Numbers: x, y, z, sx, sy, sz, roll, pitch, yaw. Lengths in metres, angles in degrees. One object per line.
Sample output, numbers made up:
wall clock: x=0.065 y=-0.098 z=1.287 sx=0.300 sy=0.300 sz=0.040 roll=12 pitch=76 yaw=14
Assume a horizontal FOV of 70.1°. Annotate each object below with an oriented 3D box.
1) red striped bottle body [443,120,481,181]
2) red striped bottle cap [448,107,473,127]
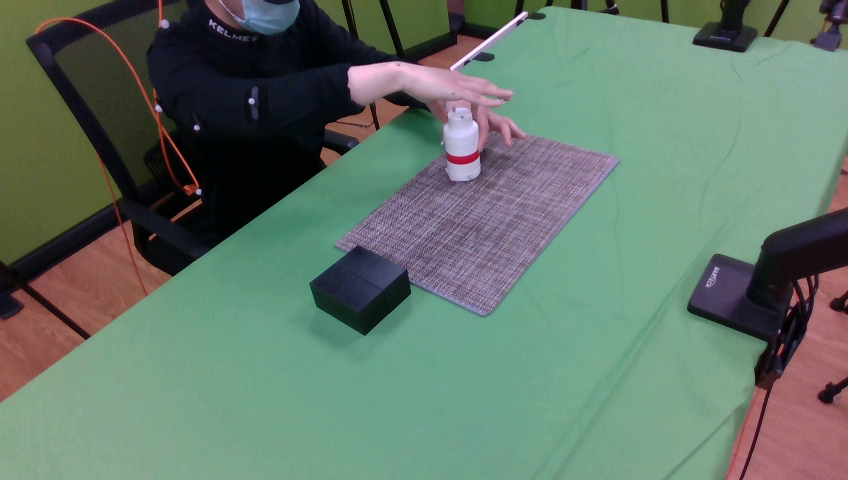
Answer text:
red striped bottle body: x=0.067 y=-0.171 z=1.076 sx=0.063 sy=0.120 sz=0.062 roll=-4 pitch=41 yaw=4
red striped bottle cap: x=0.062 y=-0.212 z=1.040 sx=0.044 sy=0.018 sz=0.044 roll=-6 pitch=39 yaw=6
